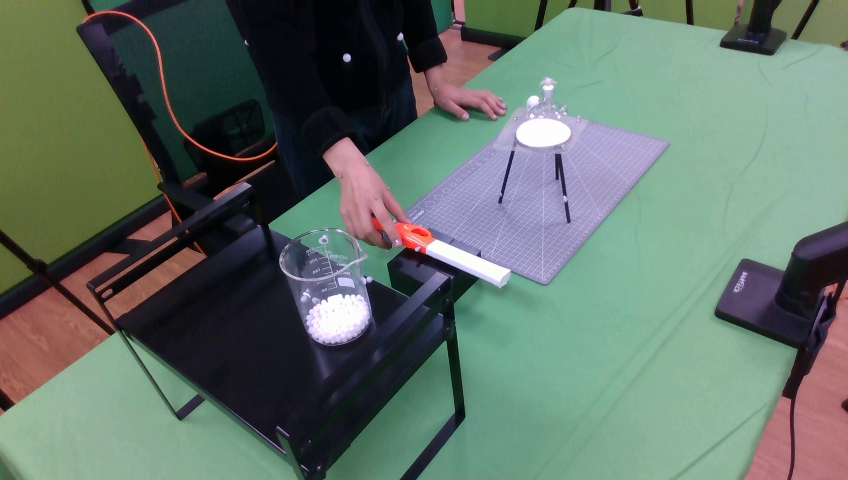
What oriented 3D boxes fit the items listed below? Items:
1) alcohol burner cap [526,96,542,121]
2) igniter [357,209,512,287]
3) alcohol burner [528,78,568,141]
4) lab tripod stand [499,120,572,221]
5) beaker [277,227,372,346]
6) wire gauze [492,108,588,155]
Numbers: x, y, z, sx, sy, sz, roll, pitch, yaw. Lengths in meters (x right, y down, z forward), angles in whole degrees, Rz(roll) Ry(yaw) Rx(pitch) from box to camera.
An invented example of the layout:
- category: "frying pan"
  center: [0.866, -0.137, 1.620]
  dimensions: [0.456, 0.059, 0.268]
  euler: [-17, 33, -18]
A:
- category: "alcohol burner cap"
  center: [0.225, -0.272, 1.243]
  dimensions: [0.034, 0.048, 0.033]
  euler: [-5, 41, 5]
- category: "igniter"
  center: [0.004, 0.006, 0.891]
  dimensions: [0.274, 0.025, 0.057]
  euler: [23, 37, 30]
- category: "alcohol burner"
  center: [0.238, -0.253, 1.163]
  dimensions: [0.078, 0.119, 0.077]
  euler: [-6, 40, 6]
- category: "lab tripod stand"
  center: [0.198, -0.117, 0.992]
  dimensions: [0.148, 0.132, 0.147]
  euler: [-3, 40, 3]
- category: "beaker"
  center: [-0.090, 0.048, 0.593]
  dimensions: [0.084, 0.101, 0.073]
  euler: [-3, 41, 5]
- category: "wire gauze"
  center: [0.185, -0.170, 0.953]
  dimensions: [0.121, 0.011, 0.125]
  euler: [13, 44, 22]
